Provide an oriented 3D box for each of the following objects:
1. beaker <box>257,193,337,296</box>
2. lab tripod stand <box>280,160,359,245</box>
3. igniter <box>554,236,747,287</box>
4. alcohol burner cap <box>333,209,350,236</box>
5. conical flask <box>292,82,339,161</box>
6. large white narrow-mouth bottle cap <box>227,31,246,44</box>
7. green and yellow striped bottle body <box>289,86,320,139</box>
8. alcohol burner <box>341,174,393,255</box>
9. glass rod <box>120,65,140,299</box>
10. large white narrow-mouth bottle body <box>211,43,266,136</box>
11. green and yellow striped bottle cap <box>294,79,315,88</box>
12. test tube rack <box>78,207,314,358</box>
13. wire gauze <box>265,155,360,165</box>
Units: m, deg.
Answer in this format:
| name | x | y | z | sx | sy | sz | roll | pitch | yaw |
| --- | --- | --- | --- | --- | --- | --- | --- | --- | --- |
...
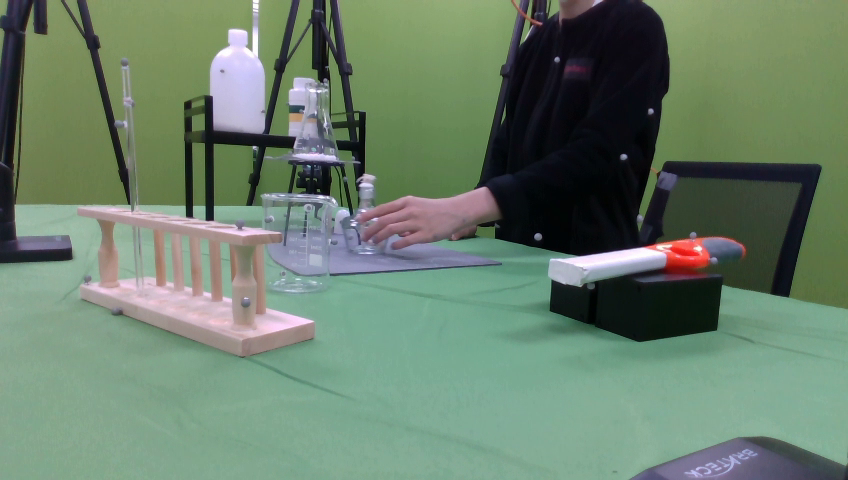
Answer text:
| name | x | y | z | sx | sy | sz | roll | pitch | yaw |
| --- | --- | --- | --- | --- | --- | --- | --- | --- | --- |
| beaker | -0.130 | 0.004 | 0.628 | 0.084 | 0.100 | 0.074 | 5 | 8 | 15 |
| lab tripod stand | -0.176 | -0.062 | 0.973 | 0.148 | 0.131 | 0.148 | 1 | 7 | 0 |
| igniter | 0.221 | 0.017 | 0.558 | 0.278 | 0.025 | 0.057 | -5 | 15 | -39 |
| alcohol burner cap | -0.151 | -0.033 | 1.116 | 0.034 | 0.048 | 0.034 | 3 | 6 | 0 |
| conical flask | -0.171 | -0.185 | 0.957 | 0.075 | 0.122 | 0.075 | 2 | 7 | 0 |
| large white narrow-mouth bottle cap | -0.361 | -0.388 | 1.165 | 0.038 | 0.024 | 0.037 | 1 | 7 | 0 |
| green and yellow striped bottle body | -0.250 | -0.272 | 1.261 | 0.063 | 0.119 | 0.063 | 3 | 7 | 0 |
| alcohol burner | -0.084 | -0.038 | 0.892 | 0.078 | 0.119 | 0.078 | 0 | 6 | 0 |
| glass rod | -0.249 | -0.047 | 0.512 | 0.008 | 0.199 | 0.008 | -1 | 3 | 0 |
| large white narrow-mouth bottle body | -0.361 | -0.302 | 1.176 | 0.102 | 0.194 | 0.102 | 1 | 7 | 0 |
| green and yellow striped bottle cap | -0.248 | -0.323 | 1.256 | 0.045 | 0.020 | 0.045 | 3 | 9 | 0 |
| test tube rack | -0.197 | 0.024 | 0.499 | 0.241 | 0.085 | 0.067 | 8 | 8 | 37 |
| wire gauze | -0.181 | -0.128 | 0.969 | 0.126 | 0.011 | 0.121 | -3 | 7 | -26 |
